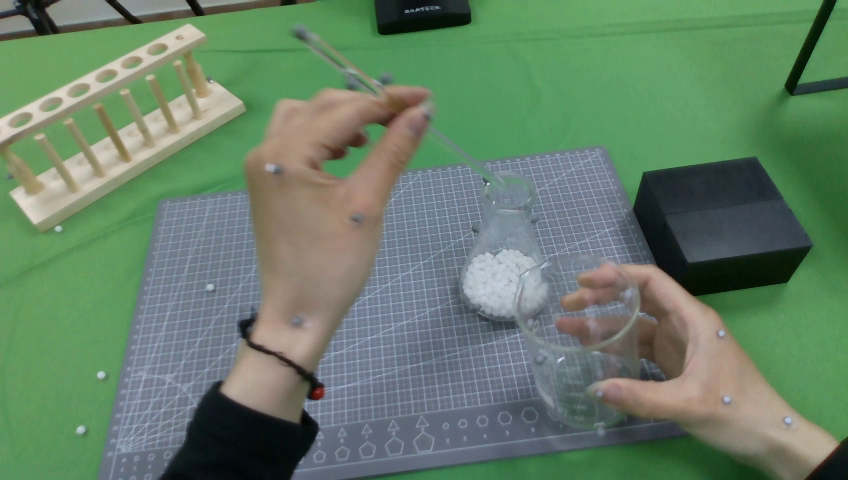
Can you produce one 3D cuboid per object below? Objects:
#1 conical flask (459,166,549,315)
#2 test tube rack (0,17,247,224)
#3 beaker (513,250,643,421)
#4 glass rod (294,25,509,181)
[{"bbox_3d":[0.063,-0.002,0.467,0.075,0.123,0.074,-2,52,3],"label":"conical flask"},{"bbox_3d":[-0.312,-0.127,0.621,0.242,0.086,0.066,-39,59,-24],"label":"test tube rack"},{"bbox_3d":[0.101,0.065,0.398,0.074,0.101,0.083,-39,45,-20],"label":"beaker"},{"bbox_3d":[0.002,-0.065,0.334,0.008,0.201,0.008,-10,71,32],"label":"glass rod"}]
